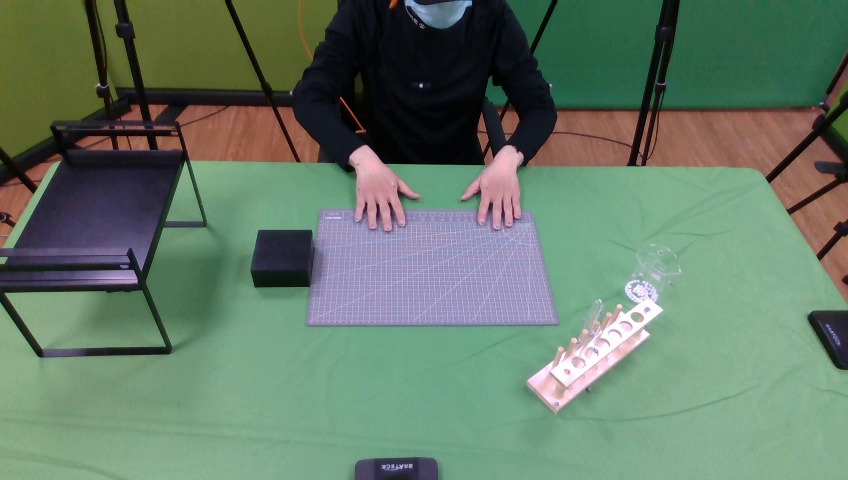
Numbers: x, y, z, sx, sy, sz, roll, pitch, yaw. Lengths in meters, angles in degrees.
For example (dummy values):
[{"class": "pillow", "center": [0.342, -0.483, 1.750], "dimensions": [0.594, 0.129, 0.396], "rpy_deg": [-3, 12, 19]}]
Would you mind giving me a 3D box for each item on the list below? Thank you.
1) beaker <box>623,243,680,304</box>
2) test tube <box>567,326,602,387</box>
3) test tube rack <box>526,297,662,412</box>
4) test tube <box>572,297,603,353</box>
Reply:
[{"class": "beaker", "center": [0.414, 0.067, 1.111], "dimensions": [0.083, 0.101, 0.074], "rpy_deg": [31, 52, 22]}, {"class": "test tube", "center": [0.243, 0.182, 0.930], "dimensions": [0.017, 0.151, 0.017], "rpy_deg": [5, 45, -5]}, {"class": "test tube rack", "center": [0.284, 0.176, 1.007], "dimensions": [0.242, 0.085, 0.066], "rpy_deg": [-29, 54, -27]}, {"class": "test tube", "center": [0.263, 0.141, 0.977], "dimensions": [0.017, 0.151, 0.017], "rpy_deg": [2, 47, -2]}]
